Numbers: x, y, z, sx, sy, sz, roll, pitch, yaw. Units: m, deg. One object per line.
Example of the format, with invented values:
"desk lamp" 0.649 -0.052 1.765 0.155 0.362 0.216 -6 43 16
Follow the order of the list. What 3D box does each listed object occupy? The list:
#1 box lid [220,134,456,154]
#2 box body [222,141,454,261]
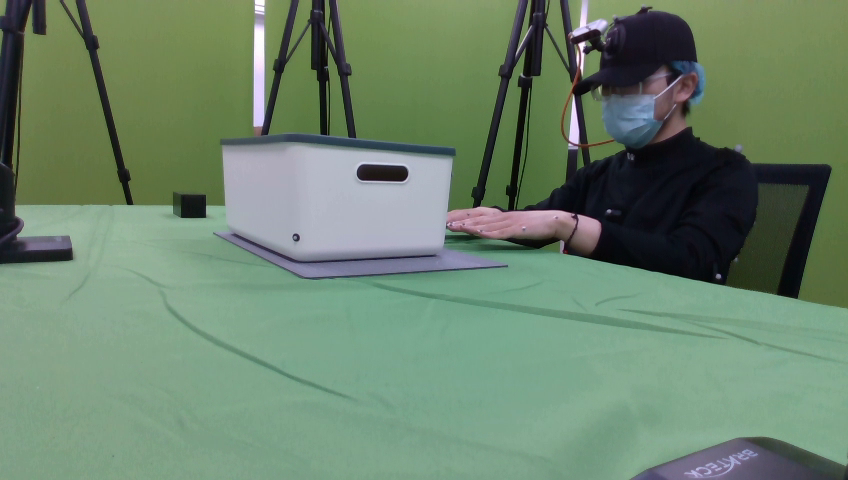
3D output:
"box lid" -0.148 -0.147 0.951 0.265 0.015 0.369 -2 8 -33
"box body" -0.152 -0.074 0.963 0.255 0.160 0.362 -3 9 -33
